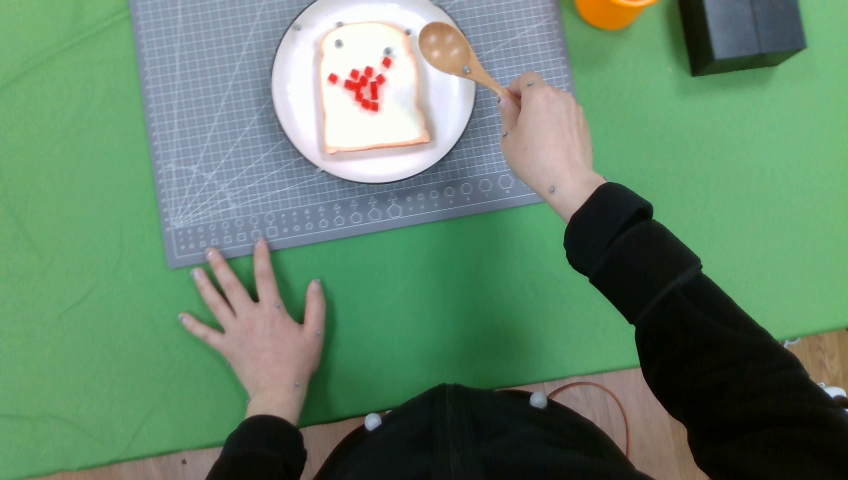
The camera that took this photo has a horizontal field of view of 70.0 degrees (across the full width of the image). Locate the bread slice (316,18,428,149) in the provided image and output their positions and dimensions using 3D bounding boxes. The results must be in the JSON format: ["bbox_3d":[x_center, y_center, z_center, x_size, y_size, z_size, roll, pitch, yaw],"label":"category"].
[{"bbox_3d":[-0.061,-0.162,0.626,0.107,0.018,0.134,-10,86,-5],"label":"bread slice"}]

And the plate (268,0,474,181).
[{"bbox_3d":[-0.053,-0.162,0.626,0.209,0.038,0.208,0,86,-3],"label":"plate"}]

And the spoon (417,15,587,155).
[{"bbox_3d":[0.070,-0.139,0.551,0.193,0.022,0.041,42,95,13],"label":"spoon"}]
